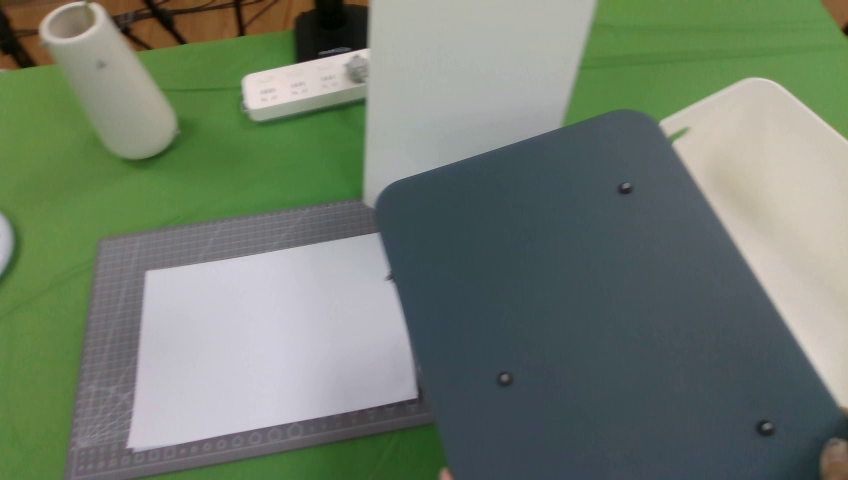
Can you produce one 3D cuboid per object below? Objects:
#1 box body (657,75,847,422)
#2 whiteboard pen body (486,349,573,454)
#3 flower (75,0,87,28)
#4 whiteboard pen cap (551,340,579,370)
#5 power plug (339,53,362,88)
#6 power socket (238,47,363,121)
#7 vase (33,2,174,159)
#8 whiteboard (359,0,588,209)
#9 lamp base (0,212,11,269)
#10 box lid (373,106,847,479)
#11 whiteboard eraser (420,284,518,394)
[{"bbox_3d":[0.337,0.044,0.600,0.254,0.162,0.360,-28,62,-13],"label":"box body"},{"bbox_3d":[0.112,0.164,0.627,0.017,0.017,0.140,37,68,22],"label":"whiteboard pen body"},{"bbox_3d":[-0.377,-0.230,0.681,0.038,0.363,0.044,38,58,4],"label":"flower"},{"bbox_3d":[0.150,0.124,0.648,0.018,0.018,0.033,35,69,21],"label":"whiteboard pen cap"},{"bbox_3d":[-0.098,-0.222,0.827,0.035,0.053,0.072,-5,66,0],"label":"power plug"},{"bbox_3d":[-0.154,-0.223,0.857,0.227,0.033,0.071,-14,61,-6],"label":"power socket"},{"bbox_3d":[-0.394,-0.192,0.755,0.098,0.202,0.097,-2,59,4],"label":"vase"},{"bbox_3d":[0.056,-0.168,0.692,0.216,0.308,0.143,18,41,14],"label":"whiteboard"},{"bbox_3d":[-0.605,-0.024,0.678,0.178,0.182,0.160,19,62,17],"label":"lamp base"},{"bbox_3d":[0.121,0.065,0.452,0.263,0.015,0.367,-18,61,-1],"label":"box lid"},{"bbox_3d":[0.049,0.105,0.646,0.055,0.042,0.112,31,66,20],"label":"whiteboard eraser"}]
